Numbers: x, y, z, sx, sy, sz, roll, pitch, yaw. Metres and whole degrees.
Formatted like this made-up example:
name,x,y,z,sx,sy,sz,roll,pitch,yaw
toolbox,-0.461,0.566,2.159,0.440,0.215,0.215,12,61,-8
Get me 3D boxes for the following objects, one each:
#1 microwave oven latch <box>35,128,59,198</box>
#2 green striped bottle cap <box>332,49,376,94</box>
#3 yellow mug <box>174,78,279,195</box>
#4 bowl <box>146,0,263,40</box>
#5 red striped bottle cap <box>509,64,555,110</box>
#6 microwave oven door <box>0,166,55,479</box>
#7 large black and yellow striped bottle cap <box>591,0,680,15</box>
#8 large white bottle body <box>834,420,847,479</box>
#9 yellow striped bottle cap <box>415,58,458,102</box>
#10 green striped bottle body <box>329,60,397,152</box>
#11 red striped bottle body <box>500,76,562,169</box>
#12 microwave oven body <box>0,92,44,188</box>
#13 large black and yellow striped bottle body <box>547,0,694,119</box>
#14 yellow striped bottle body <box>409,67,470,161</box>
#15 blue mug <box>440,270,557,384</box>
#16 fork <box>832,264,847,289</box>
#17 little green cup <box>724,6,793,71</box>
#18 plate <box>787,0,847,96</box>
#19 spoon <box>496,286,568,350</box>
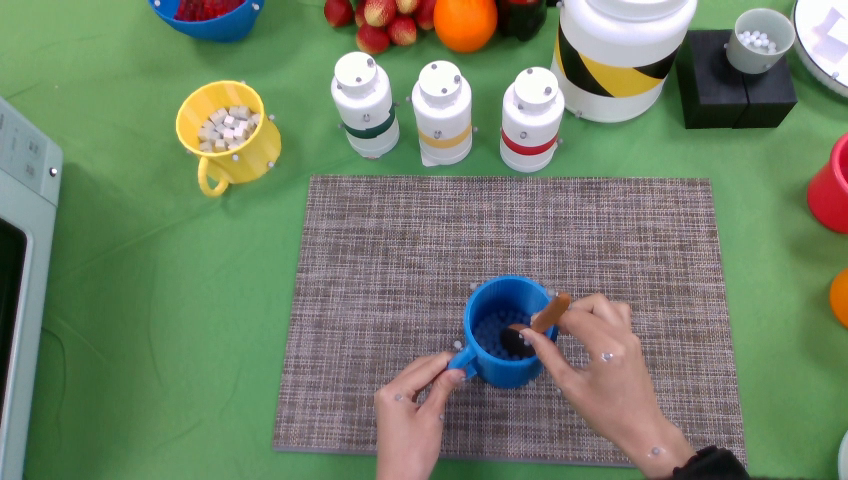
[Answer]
name,x,y,z,sx,sy,sz,roll,pitch,yaw
microwave oven latch,-0.442,-0.087,0.696,0.030,0.030,0.078,-6,69,1
green striped bottle cap,-0.072,-0.173,0.622,0.044,0.020,0.044,-2,66,4
yellow mug,-0.230,-0.113,0.695,0.100,0.064,0.130,10,70,8
bowl,-0.266,-0.310,0.770,0.151,0.077,0.150,-1,68,4
red striped bottle cap,0.107,-0.152,0.599,0.044,0.018,0.044,0,67,1
microwave oven door,-0.428,0.076,0.520,0.039,0.245,0.353,-8,68,2
large black and yellow striped bottle cap,0.198,-0.262,0.567,0.115,0.019,0.114,-2,67,4
large white bottle body,0.429,0.178,0.464,0.130,0.186,0.129,-2,67,4
yellow striped bottle cap,0.013,-0.162,0.610,0.044,0.019,0.044,0,65,0
green striped bottle body,-0.067,-0.154,0.670,0.063,0.120,0.062,-1,68,4
red striped bottle body,0.112,-0.131,0.647,0.063,0.120,0.062,-3,66,6
microwave oven body,-0.577,0.058,0.544,0.326,0.262,0.438,-8,68,1
large black and yellow striped bottle body,0.205,-0.231,0.645,0.131,0.185,0.130,-2,68,4
yellow striped bottle body,0.018,-0.142,0.658,0.063,0.121,0.062,-2,67,5
blue mug,0.064,0.093,0.565,0.116,0.106,0.081,-34,69,-9
fork,0.460,0.063,0.527,0.028,0.019,0.205,-36,26,-9
little green cup,0.356,-0.215,0.651,0.061,0.039,0.061,-1,66,2
plate,0.526,-0.241,0.703,0.209,0.038,0.207,-1,69,4
spoon,0.091,0.069,0.508,0.041,0.194,0.021,30,75,7
